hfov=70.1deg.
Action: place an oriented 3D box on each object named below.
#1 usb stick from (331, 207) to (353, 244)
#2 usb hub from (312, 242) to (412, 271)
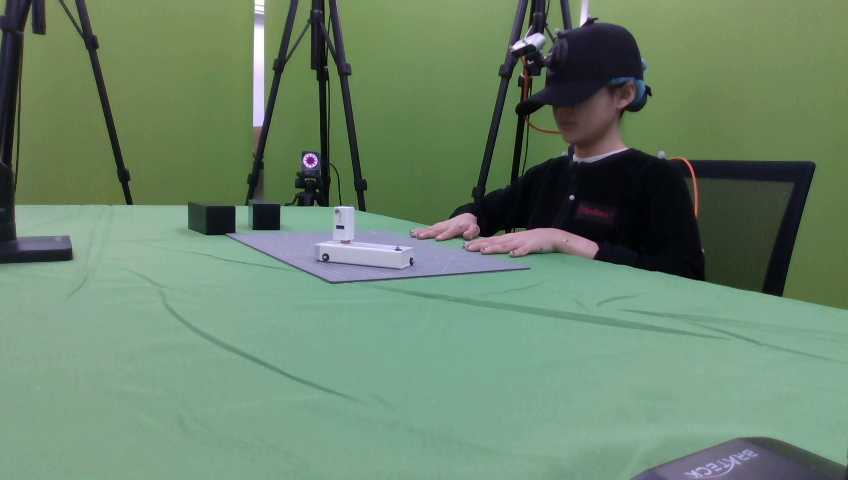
[{"bbox_3d":[-0.110,-0.014,0.812,0.021,0.059,0.027,6,11,16],"label":"usb stick"},{"bbox_3d":[-0.083,0.020,0.803,0.125,0.025,0.049,5,8,17],"label":"usb hub"}]
